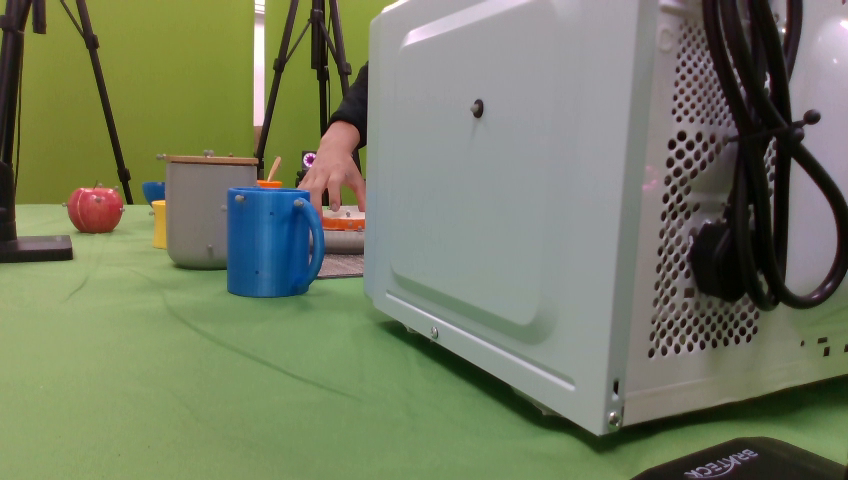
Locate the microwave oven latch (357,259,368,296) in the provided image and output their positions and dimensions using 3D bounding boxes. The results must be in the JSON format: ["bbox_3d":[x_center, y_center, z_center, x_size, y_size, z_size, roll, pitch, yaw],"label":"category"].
[{"bbox_3d":[-0.019,0.031,0.528,0.079,0.029,0.030,-1,7,-25],"label":"microwave oven latch"}]

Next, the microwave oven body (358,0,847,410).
[{"bbox_3d":[0.210,-0.051,0.471,0.444,0.260,0.324,-1,7,-28],"label":"microwave oven body"}]

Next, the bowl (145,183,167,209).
[{"bbox_3d":[-0.459,-0.068,1.175,0.151,0.077,0.151,3,7,0],"label":"bowl"}]

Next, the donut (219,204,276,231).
[{"bbox_3d":[-0.316,-0.039,1.083,0.099,0.048,0.099,3,7,0],"label":"donut"}]

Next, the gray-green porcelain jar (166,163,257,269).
[{"bbox_3d":[-0.263,-0.031,0.754,0.106,0.126,0.106,2,7,0],"label":"gray-green porcelain jar"}]

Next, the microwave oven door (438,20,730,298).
[{"bbox_3d":[0.181,-0.076,0.618,0.358,0.243,0.039,-2,8,-28],"label":"microwave oven door"}]

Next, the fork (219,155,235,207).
[{"bbox_3d":[-0.459,-0.134,1.415,0.028,0.018,0.207,-1,-34,-24],"label":"fork"}]

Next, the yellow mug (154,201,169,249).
[{"bbox_3d":[-0.338,-0.022,0.899,0.130,0.064,0.100,8,9,34],"label":"yellow mug"}]

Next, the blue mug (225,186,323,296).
[{"bbox_3d":[-0.148,0.000,0.618,0.116,0.106,0.083,7,9,33],"label":"blue mug"}]

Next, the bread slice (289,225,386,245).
[{"bbox_3d":[-0.125,-0.009,0.938,0.131,0.019,0.105,5,9,31],"label":"bread slice"}]

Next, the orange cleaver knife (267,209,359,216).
[{"bbox_3d":[-0.259,-0.064,1.423,0.212,0.012,0.077,-4,3,-30],"label":"orange cleaver knife"}]

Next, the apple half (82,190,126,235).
[{"bbox_3d":[-0.517,-0.046,0.994,0.032,0.081,0.081,0,6,26],"label":"apple half"}]

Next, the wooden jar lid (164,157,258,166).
[{"bbox_3d":[-0.261,-0.093,0.746,0.108,0.020,0.108,0,9,0],"label":"wooden jar lid"}]

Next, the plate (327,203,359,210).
[{"bbox_3d":[-0.102,-0.053,1.299,0.209,0.038,0.209,2,8,0],"label":"plate"}]

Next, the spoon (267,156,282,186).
[{"bbox_3d":[-0.391,-0.150,1.548,0.041,0.193,0.021,4,-37,7],"label":"spoon"}]

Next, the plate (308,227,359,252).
[{"bbox_3d":[-0.130,-0.011,0.945,0.208,0.039,0.207,2,7,0],"label":"plate"}]

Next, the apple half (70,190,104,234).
[{"bbox_3d":[-0.552,-0.047,1.009,0.053,0.074,0.081,-1,9,26],"label":"apple half"}]

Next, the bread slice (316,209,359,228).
[{"bbox_3d":[-0.126,-0.034,0.934,0.134,0.018,0.107,3,10,29],"label":"bread slice"}]
